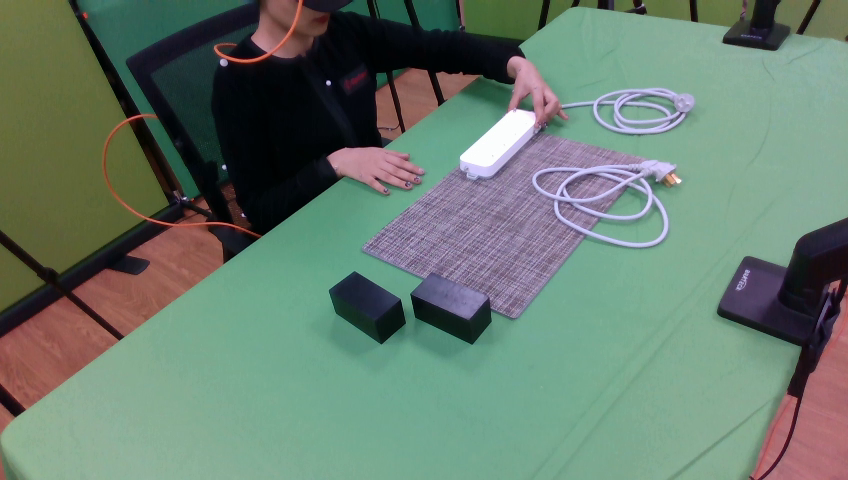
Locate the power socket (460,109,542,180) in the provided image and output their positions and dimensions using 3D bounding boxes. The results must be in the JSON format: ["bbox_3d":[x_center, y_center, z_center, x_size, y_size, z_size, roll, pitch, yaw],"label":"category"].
[{"bbox_3d":[0.151,-0.188,1.163,0.071,0.033,0.227,21,48,31],"label":"power socket"}]

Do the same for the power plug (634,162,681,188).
[{"bbox_3d":[0.396,-0.102,1.026,0.072,0.035,0.052,-35,68,-5],"label":"power plug"}]
